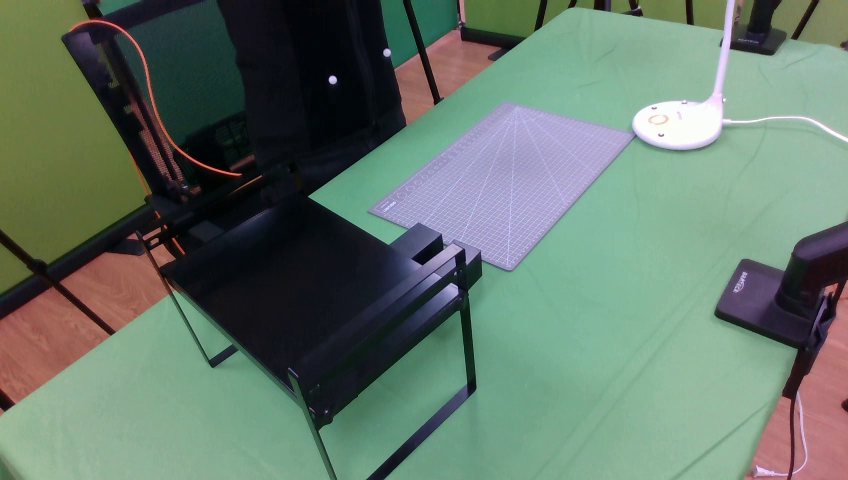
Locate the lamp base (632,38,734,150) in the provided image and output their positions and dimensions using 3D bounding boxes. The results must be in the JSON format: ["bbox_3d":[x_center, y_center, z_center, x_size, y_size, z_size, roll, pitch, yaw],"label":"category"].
[{"bbox_3d":[0.486,-0.280,1.108,0.179,0.181,0.159,-5,41,-1],"label":"lamp base"}]
